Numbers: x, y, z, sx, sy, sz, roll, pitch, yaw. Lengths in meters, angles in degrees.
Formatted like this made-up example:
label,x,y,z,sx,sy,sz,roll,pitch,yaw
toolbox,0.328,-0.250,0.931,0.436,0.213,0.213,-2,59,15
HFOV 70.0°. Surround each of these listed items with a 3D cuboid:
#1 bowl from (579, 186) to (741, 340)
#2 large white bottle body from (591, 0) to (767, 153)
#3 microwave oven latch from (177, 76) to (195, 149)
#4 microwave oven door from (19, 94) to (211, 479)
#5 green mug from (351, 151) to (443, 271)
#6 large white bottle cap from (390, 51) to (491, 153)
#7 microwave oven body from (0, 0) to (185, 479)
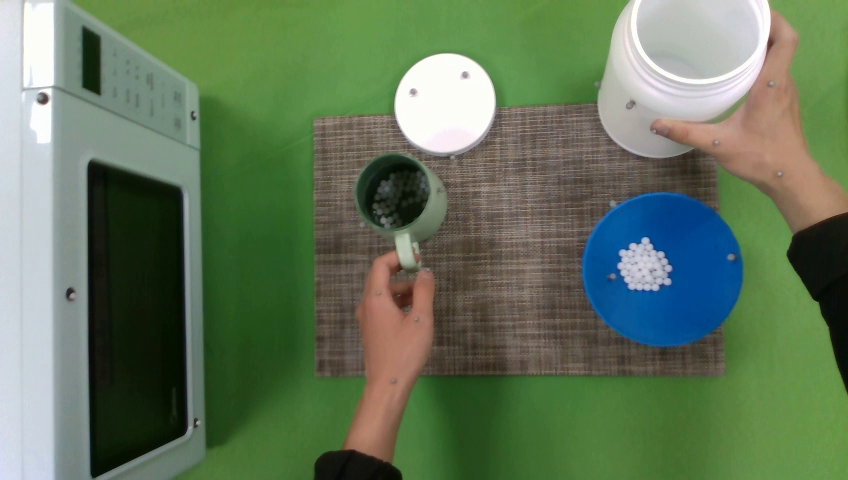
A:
label,x,y,z,sx,sy,sz,roll,pitch,yaw
bowl,0.232,0.025,0.623,0.151,0.077,0.151,0,87,8
large white bottle body,0.234,-0.168,0.576,0.130,0.185,0.130,-1,83,9
microwave oven latch,-0.282,-0.146,0.697,0.030,0.029,0.079,-3,88,6
microwave oven door,-0.285,0.066,0.586,0.039,0.244,0.355,-4,87,7
green mug,-0.025,-0.029,0.642,0.092,0.105,0.125,-11,86,6
large white bottle cap,0.019,-0.156,0.685,0.114,0.018,0.114,-1,83,7
microwave oven body,-0.432,0.034,0.609,0.326,0.260,0.441,-3,87,6
